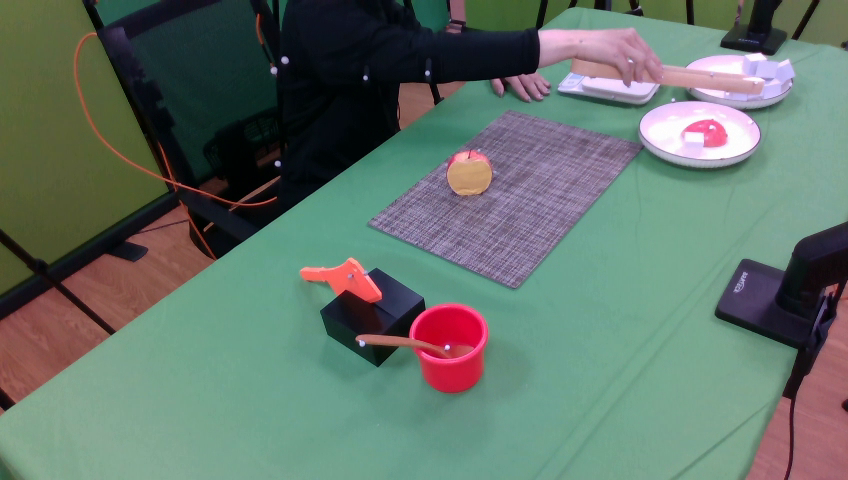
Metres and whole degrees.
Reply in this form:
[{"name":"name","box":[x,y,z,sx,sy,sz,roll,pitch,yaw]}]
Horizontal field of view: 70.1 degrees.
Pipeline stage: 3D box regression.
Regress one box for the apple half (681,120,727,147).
[{"name":"apple half","box":[0.518,-0.202,1.115,0.081,0.033,0.081,-1,40,2]}]

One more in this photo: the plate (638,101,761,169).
[{"name":"plate","box":[0.500,-0.189,1.111,0.209,0.038,0.208,-4,41,4]}]

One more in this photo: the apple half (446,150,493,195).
[{"name":"apple half","box":[0.080,-0.123,1.065,0.081,0.075,0.053,-7,36,7]}]

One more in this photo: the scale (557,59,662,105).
[{"name":"scale","box":[0.407,-0.348,1.314,0.199,0.032,0.149,19,47,28]}]

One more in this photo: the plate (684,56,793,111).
[{"name":"plate","box":[0.636,-0.317,1.239,0.207,0.039,0.206,-4,40,4]}]

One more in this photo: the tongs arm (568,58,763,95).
[{"name":"tongs arm","box":[0.463,-0.310,1.150,0.386,0.026,0.050,2,28,-13]}]

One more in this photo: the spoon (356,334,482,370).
[{"name":"spoon","box":[-0.001,0.130,0.731,0.195,0.021,0.041,22,28,-39]}]

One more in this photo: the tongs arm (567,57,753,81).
[{"name":"tongs arm","box":[0.461,-0.321,1.171,0.389,0.028,0.028,4,31,-9]}]

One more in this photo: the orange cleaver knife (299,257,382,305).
[{"name":"orange cleaver knife","box":[-0.124,0.062,0.872,0.012,0.077,0.210,-38,17,-30]}]
